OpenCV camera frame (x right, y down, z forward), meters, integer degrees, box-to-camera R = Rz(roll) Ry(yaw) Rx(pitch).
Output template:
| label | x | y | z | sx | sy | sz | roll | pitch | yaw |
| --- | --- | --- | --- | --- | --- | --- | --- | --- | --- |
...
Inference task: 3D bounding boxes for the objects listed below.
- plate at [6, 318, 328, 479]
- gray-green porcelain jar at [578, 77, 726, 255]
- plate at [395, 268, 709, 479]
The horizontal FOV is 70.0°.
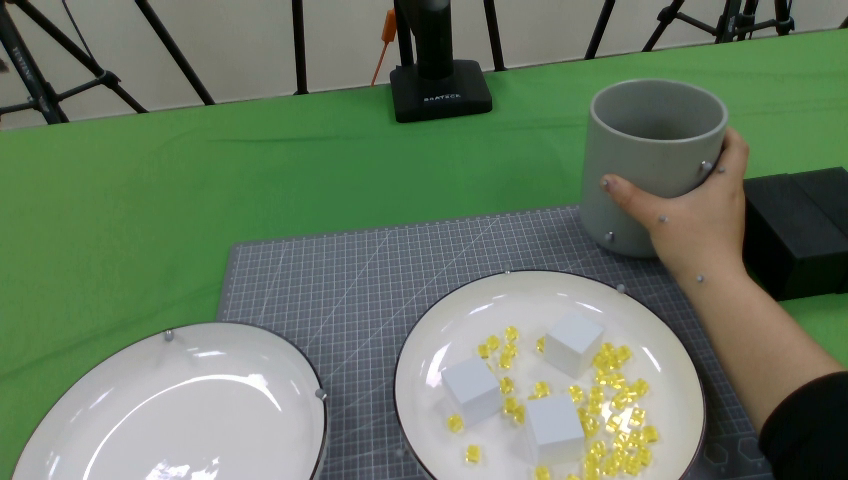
| label | x | y | z | sx | sy | sz | roll | pitch | yaw |
| --- | --- | --- | --- | --- | --- | --- | --- | --- | --- |
| plate | -0.165 | 0.144 | 0.408 | 0.209 | 0.038 | 0.207 | -4 | 43 | 4 |
| gray-green porcelain jar | 0.189 | -0.059 | 0.521 | 0.106 | 0.128 | 0.105 | -3 | 41 | 3 |
| plate | 0.085 | 0.105 | 0.425 | 0.207 | 0.039 | 0.205 | -3 | 43 | 3 |
